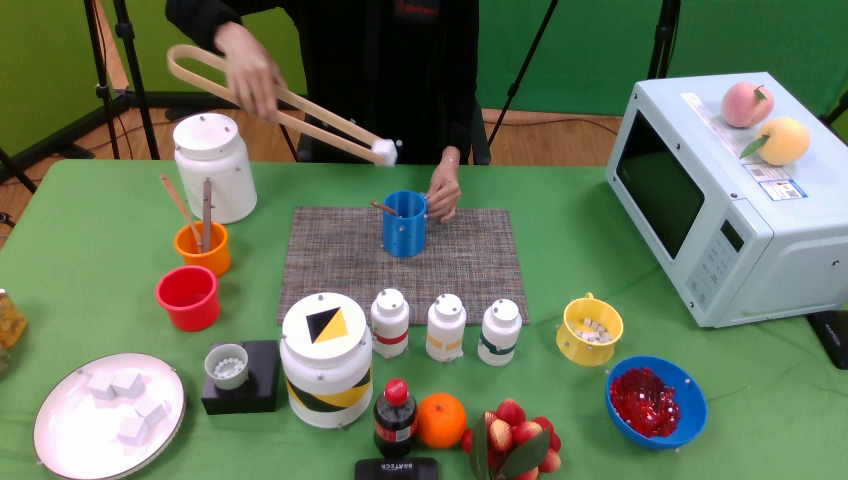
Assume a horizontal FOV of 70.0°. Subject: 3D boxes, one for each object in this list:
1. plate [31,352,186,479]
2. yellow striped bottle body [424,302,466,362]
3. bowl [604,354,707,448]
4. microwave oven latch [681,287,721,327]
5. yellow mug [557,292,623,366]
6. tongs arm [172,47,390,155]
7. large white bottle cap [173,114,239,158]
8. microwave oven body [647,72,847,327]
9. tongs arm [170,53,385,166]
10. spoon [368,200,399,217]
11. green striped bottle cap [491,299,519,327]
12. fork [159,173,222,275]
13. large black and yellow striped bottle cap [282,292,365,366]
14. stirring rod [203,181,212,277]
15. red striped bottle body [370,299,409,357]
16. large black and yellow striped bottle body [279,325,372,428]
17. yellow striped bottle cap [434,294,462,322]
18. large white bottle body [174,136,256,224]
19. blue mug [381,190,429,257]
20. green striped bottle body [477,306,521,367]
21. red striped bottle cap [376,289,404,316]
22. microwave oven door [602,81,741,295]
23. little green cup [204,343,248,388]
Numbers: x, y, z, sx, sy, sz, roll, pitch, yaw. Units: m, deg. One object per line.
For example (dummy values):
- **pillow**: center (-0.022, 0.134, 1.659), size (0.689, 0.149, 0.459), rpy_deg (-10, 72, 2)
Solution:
- **plate**: center (-0.459, 0.262, 0.898), size (0.209, 0.038, 0.208), rpy_deg (2, 46, -2)
- **yellow striped bottle body**: center (0.035, 0.143, 0.995), size (0.063, 0.121, 0.062), rpy_deg (3, 46, -2)
- **bowl**: center (0.346, 0.261, 0.937), size (0.151, 0.077, 0.150), rpy_deg (2, 46, -2)
- **microwave oven latch**: center (0.494, 0.119, 1.087), size (0.030, 0.029, 0.078), rpy_deg (-6, 46, -9)
- **yellow mug**: center (0.285, 0.145, 1.051), size (0.100, 0.064, 0.130), rpy_deg (7, 45, 4)
- **tongs arm**: center (-0.240, -0.230, 1.029), size (0.385, 0.026, 0.050), rpy_deg (28, 54, -4)
- **large white bottle cap**: center (-0.403, -0.195, 1.122), size (0.115, 0.018, 0.114), rpy_deg (2, 47, -2)
- **microwave oven body**: center (0.607, -0.089, 1.164), size (0.326, 0.261, 0.438), rpy_deg (-7, 46, -10)
- **tongs arm**: center (-0.246, -0.213, 1.016), size (0.388, 0.028, 0.028), rpy_deg (24, 57, -7)
- **spoon**: center (-0.059, -0.047, 1.115), size (0.041, 0.194, 0.021), rpy_deg (32, 87, 24)
- **green striped bottle cap**: center (0.128, 0.115, 0.958), size (0.044, 0.020, 0.044), rpy_deg (1, 46, -1)
- **fork**: center (-0.427, -0.029, 1.103), size (0.028, 0.018, 0.207), rpy_deg (-31, 99, -30)
- **large black and yellow striped bottle cap**: center (-0.138, 0.121, 0.841), size (0.115, 0.019, 0.114), rpy_deg (3, 47, -3)
- **stirring rod**: center (-0.396, -0.021, 1.108), size (0.014, 0.006, 0.176), rpy_deg (-1, 89, -1)
- **red striped bottle body**: center (-0.058, 0.134, 0.997), size (0.063, 0.120, 0.062), rpy_deg (3, 47, -3)
- **large black and yellow striped bottle body**: center (-0.143, 0.181, 0.900), size (0.131, 0.185, 0.130), rpy_deg (2, 46, -2)
- **yellow striped bottle cap**: center (0.037, 0.107, 0.958), size (0.044, 0.019, 0.044), rpy_deg (2, 45, -2)
- **large white bottle body**: center (-0.408, -0.137, 1.183), size (0.131, 0.185, 0.130), rpy_deg (2, 46, -2)
- **blue mug**: center (-0.030, -0.039, 1.171), size (0.082, 0.106, 0.116), rpy_deg (33, 52, 24)
- **green striped bottle body**: center (0.124, 0.151, 0.995), size (0.063, 0.120, 0.063), rpy_deg (2, 46, -2)
- **red striped bottle cap**: center (-0.054, 0.098, 0.958), size (0.044, 0.018, 0.044), rpy_deg (0, 48, 0)
- **microwave oven door**: center (0.456, -0.107, 1.162), size (0.039, 0.245, 0.353), rpy_deg (-7, 47, -11)
- **little green cup**: center (-0.294, 0.190, 0.909), size (0.061, 0.039, 0.061), rpy_deg (1, 48, -1)
